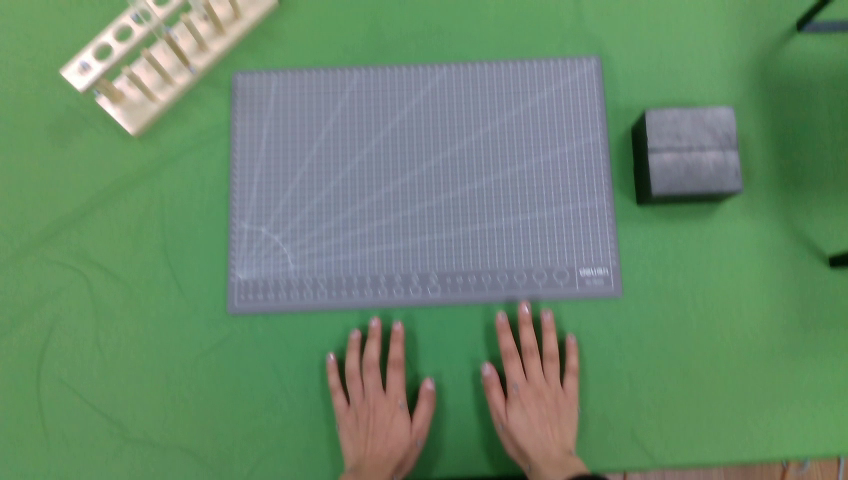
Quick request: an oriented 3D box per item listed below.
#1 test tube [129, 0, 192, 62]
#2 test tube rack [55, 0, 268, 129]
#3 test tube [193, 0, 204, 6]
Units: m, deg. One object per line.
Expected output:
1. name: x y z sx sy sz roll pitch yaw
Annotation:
1. test tube: -0.288 -0.236 0.655 0.017 0.151 0.017 0 77 1
2. test tube rack: -0.291 -0.249 0.703 0.066 0.085 0.242 42 83 7
3. test tube: -0.276 -0.305 0.662 0.017 0.151 0.017 -1 78 6
